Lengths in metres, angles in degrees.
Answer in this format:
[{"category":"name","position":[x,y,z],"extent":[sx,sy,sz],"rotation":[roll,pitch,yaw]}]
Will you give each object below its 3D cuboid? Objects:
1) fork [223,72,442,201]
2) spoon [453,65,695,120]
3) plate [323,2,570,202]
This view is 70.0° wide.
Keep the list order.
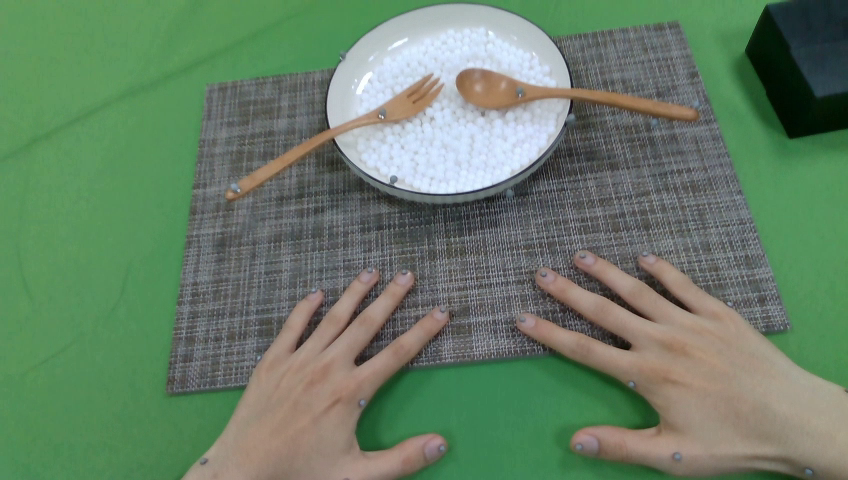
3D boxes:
[{"category":"fork","position":[-0.072,-0.087,0.500],"extent":[0.207,0.019,0.028],"rotation":[-31,64,-18]},{"category":"spoon","position":[0.115,-0.116,0.488],"extent":[0.192,0.022,0.041],"rotation":[12,60,22]},{"category":"plate","position":[0.018,-0.118,0.521],"extent":[0.209,0.038,0.207],"rotation":[-3,62,6]}]
